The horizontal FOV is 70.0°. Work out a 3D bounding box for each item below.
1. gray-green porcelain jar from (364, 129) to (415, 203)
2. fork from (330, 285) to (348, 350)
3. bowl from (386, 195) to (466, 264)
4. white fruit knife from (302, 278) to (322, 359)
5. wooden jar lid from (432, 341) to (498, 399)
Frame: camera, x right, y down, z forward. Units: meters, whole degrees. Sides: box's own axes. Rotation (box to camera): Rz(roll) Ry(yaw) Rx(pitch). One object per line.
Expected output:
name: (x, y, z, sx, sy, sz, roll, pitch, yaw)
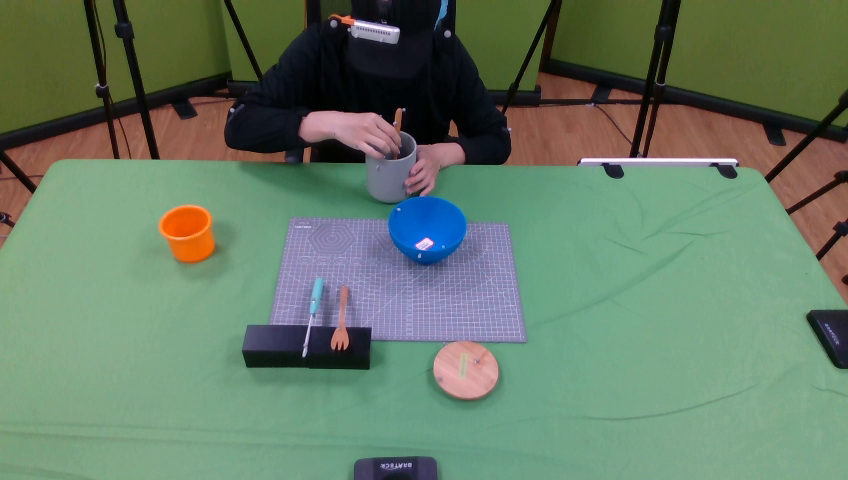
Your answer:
gray-green porcelain jar: (-0.073, -0.150, 1.264, 0.106, 0.127, 0.105, 2, 46, -2)
fork: (-0.140, 0.127, 1.021, 0.028, 0.019, 0.206, -5, 28, -2)
bowl: (0.003, -0.007, 1.162, 0.151, 0.077, 0.150, 2, 46, -2)
white fruit knife: (-0.189, 0.126, 1.020, 0.016, 0.027, 0.206, 0, 33, -2)
wooden jar lid: (0.067, 0.216, 0.997, 0.108, 0.021, 0.107, 1, 46, -1)
